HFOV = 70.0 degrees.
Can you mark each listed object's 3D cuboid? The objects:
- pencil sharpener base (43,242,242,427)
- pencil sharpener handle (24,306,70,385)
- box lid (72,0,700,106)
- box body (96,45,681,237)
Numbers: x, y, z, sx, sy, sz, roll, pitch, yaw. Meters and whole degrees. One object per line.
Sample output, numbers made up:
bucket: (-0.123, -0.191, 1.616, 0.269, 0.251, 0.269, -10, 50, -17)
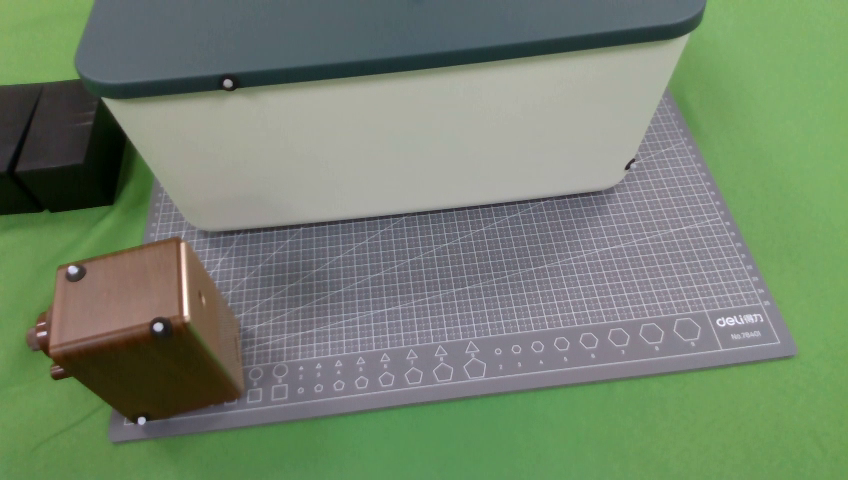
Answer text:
pencil sharpener base: (-0.161, 0.061, 0.360, 0.077, 0.108, 0.060, -14, 56, -7)
pencil sharpener handle: (-0.211, 0.065, 0.344, 0.031, 0.068, 0.035, -14, 58, -7)
box lid: (-0.031, -0.197, 0.414, 0.372, 0.015, 0.260, -6, 54, -3)
box body: (-0.026, -0.154, 0.475, 0.364, 0.162, 0.251, -7, 55, -3)
